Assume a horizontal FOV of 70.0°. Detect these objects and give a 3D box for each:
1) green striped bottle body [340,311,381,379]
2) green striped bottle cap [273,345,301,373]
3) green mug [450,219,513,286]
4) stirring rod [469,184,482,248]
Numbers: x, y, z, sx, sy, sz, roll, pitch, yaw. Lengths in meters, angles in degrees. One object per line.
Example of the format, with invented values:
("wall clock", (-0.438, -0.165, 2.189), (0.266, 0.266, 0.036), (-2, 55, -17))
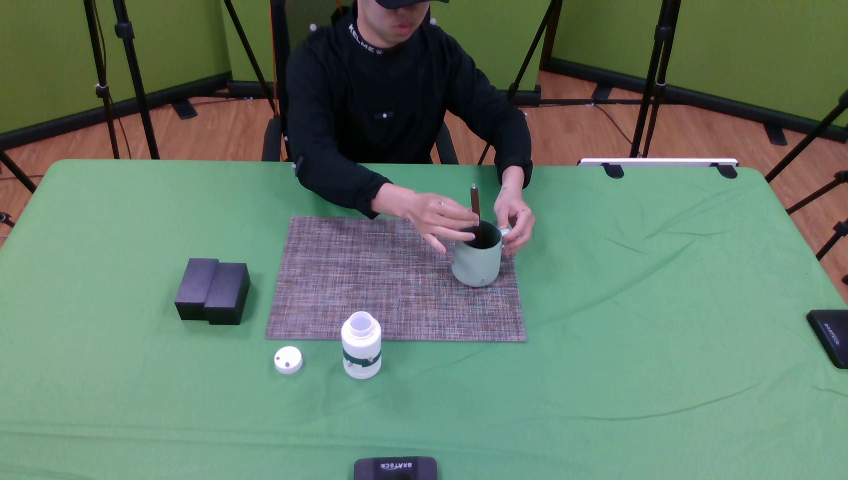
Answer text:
("green striped bottle body", (-0.101, 0.164, 0.964), (0.063, 0.120, 0.063), (2, 46, -2))
("green striped bottle cap", (-0.225, 0.195, 0.997), (0.044, 0.020, 0.044), (2, 50, -3))
("green mug", (0.111, 0.019, 1.125), (0.125, 0.105, 0.092), (-22, 52, -23))
("stirring rod", (0.091, -0.033, 1.058), (0.014, 0.177, 0.006), (-5, 49, 5))
